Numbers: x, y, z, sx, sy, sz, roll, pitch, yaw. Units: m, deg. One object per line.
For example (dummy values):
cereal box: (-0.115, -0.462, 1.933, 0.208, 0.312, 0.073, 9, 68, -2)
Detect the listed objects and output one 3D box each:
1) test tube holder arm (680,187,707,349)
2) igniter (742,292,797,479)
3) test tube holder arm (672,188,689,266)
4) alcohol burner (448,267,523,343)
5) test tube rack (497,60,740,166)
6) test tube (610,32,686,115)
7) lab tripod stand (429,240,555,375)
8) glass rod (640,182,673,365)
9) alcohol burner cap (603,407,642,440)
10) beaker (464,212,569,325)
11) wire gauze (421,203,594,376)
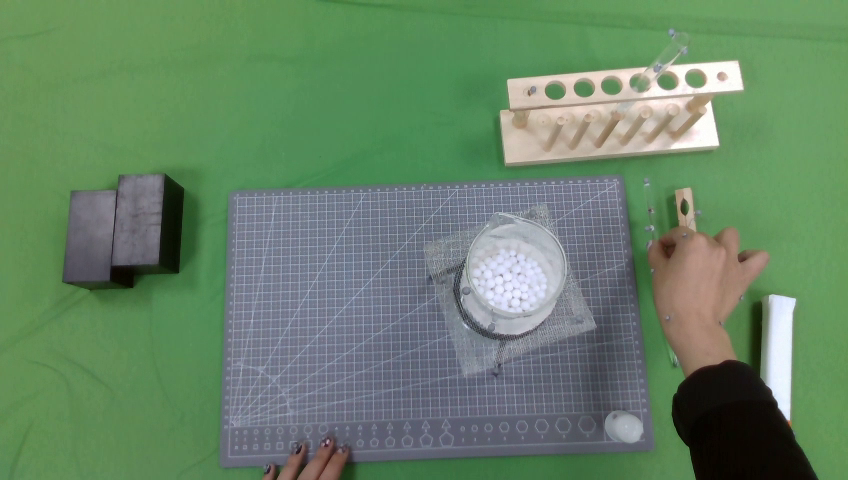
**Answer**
test tube holder arm: (0.293, 0.029, 0.660, 0.013, 0.015, 0.177, -11, 76, 33)
igniter: (0.354, 0.191, 0.621, 0.057, 0.025, 0.275, 10, 78, -7)
test tube holder arm: (0.287, -0.014, 0.672, 0.010, 0.015, 0.087, -10, 76, 33)
alcohol burner: (0.062, 0.062, 0.606, 0.078, 0.119, 0.077, 0, 75, 2)
test tube rack: (0.208, -0.137, 0.666, 0.242, 0.085, 0.066, -5, 77, 0)
test tube: (0.225, -0.165, 0.621, 0.017, 0.150, 0.017, 1, 76, -5)
lab tripod stand: (0.068, 0.058, 0.597, 0.148, 0.132, 0.147, -1, 78, 3)
glass rod: (0.251, 0.035, 0.655, 0.008, 0.008, 0.199, -7, 87, -1)
alcohol burner cap: (0.203, 0.187, 0.613, 0.034, 0.048, 0.033, 0, 77, 1)
beaker: (0.068, 0.028, 0.487, 0.074, 0.101, 0.083, -17, 77, -1)
wire gauze: (0.071, 0.041, 0.533, 0.121, 0.011, 0.124, -19, 79, 0)
